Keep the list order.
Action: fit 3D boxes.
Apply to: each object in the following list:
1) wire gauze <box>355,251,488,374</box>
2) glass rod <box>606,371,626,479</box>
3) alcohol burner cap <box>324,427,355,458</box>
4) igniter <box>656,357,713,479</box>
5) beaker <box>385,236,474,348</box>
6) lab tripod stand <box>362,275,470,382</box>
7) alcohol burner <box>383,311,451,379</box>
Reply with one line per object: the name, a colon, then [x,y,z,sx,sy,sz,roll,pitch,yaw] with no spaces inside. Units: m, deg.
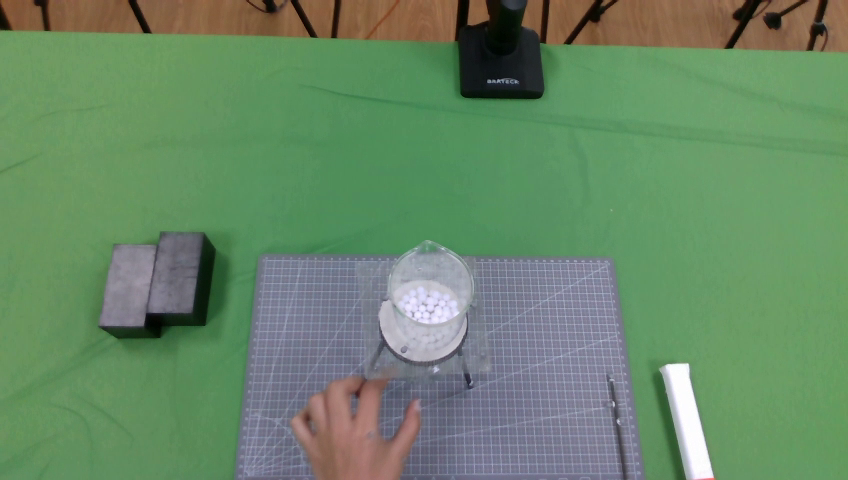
wire gauze: [-0.004,0.070,0.600,0.125,0.011,0.120,-4,65,-3]
glass rod: [0.219,0.247,0.679,0.008,0.008,0.198,0,67,-3]
alcohol burner cap: [-0.092,0.217,0.655,0.034,0.048,0.033,1,67,-2]
igniter: [0.301,0.267,0.668,0.057,0.025,0.274,1,67,-13]
beaker: [0.002,0.052,0.556,0.074,0.101,0.083,-3,65,-4]
lab tripod stand: [-0.006,0.098,0.660,0.148,0.132,0.147,1,66,-1]
alcohol burner: [-0.007,0.111,0.666,0.078,0.120,0.077,1,65,-1]
